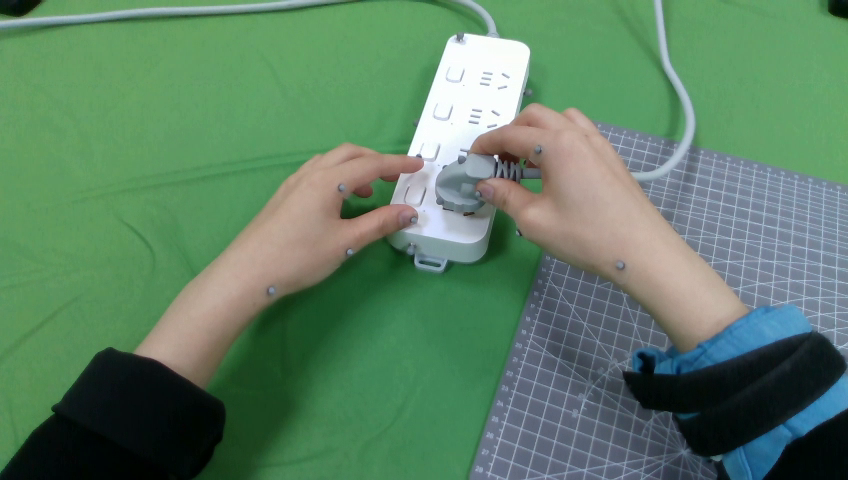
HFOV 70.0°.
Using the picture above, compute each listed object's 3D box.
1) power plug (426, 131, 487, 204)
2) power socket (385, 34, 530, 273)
[{"bbox_3d":[0.024,-0.050,0.375,0.035,0.073,0.052,27,77,1],"label":"power plug"},{"bbox_3d":[0.030,-0.078,0.461,0.072,0.033,0.225,13,58,8],"label":"power socket"}]
